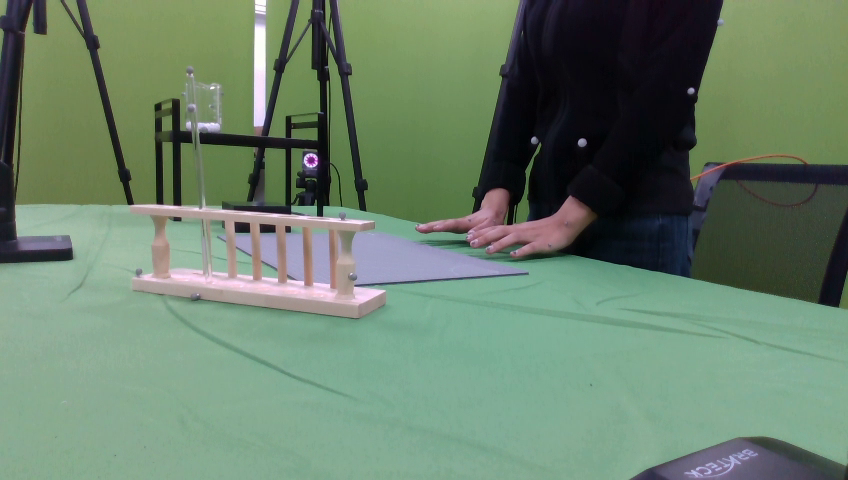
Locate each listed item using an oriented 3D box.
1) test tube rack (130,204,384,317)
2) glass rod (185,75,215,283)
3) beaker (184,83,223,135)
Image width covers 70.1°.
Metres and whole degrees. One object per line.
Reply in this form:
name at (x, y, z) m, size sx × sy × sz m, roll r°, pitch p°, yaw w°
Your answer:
test tube rack at (-0.163, 0.013, 0.589) m, size 0.242 × 0.085 × 0.067 m, roll 4°, pitch 8°, yaw 17°
glass rod at (-0.210, -0.052, 0.568) m, size 0.008 × 0.199 × 0.008 m, roll -1°, pitch 15°, yaw 1°
beaker at (-0.456, -0.271, 1.256) m, size 0.074 × 0.100 × 0.083 m, roll -3°, pitch 9°, yaw -33°
